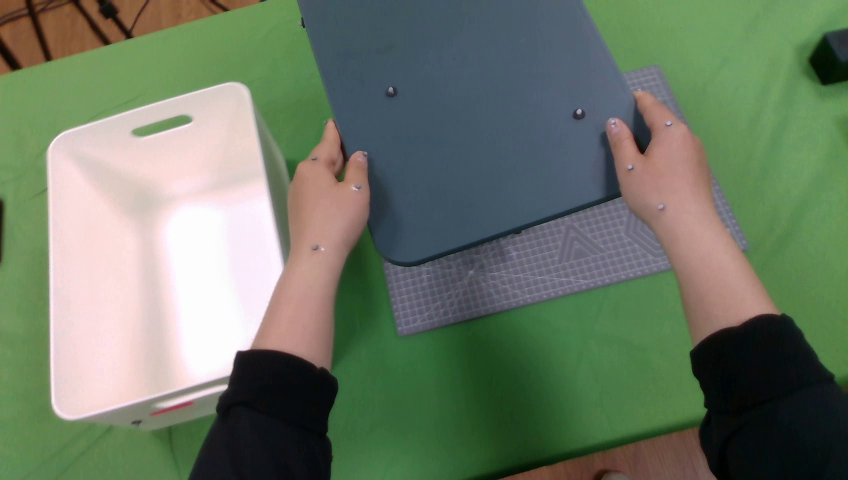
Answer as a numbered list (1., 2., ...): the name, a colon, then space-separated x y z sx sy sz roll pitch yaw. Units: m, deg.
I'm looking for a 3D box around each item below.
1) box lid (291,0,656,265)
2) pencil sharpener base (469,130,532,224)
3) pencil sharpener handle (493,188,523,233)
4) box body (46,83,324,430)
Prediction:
1. box lid: 0.029 -0.174 0.576 0.263 0.015 0.368 -18 69 -3
2. pencil sharpener base: 0.095 -0.074 0.763 0.061 0.108 0.076 -13 66 0
3. pencil sharpener handle: 0.106 -0.034 0.731 0.036 0.068 0.030 -15 66 5
4. box body: -0.283 0.023 0.736 0.254 0.161 0.361 -17 66 -1
